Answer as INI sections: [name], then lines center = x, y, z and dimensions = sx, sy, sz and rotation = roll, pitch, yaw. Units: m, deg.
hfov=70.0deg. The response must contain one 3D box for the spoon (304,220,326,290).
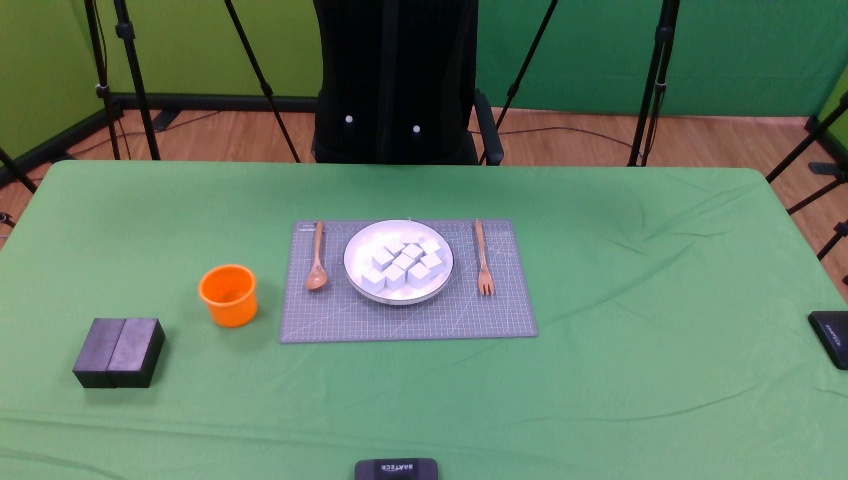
[spoon]
center = -0.205, 0.024, 1.154
dimensions = 0.041, 0.022, 0.192
rotation = -13, 46, 7

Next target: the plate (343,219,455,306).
[plate]
center = -0.047, 0.045, 1.136
dimensions = 0.208, 0.039, 0.206
rotation = 2, 46, -2

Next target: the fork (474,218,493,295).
[fork]
center = 0.112, 0.029, 1.177
dimensions = 0.028, 0.019, 0.206
rotation = -3, 48, 1
